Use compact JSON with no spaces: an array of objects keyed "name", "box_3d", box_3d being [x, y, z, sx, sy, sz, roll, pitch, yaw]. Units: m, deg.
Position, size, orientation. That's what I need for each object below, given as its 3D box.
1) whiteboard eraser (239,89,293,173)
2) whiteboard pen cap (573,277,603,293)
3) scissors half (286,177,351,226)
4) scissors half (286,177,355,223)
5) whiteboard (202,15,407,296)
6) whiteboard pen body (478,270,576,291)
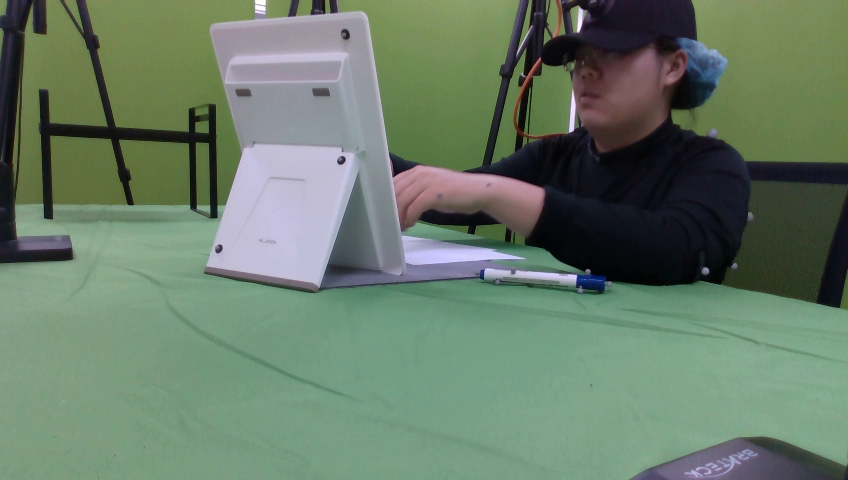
[{"name":"whiteboard eraser","box_3d":[-0.216,-0.145,0.820,0.055,0.113,0.042,24,49,26]},{"name":"whiteboard pen cap","box_3d":[0.186,0.051,0.687,0.033,0.018,0.018,4,8,18]},{"name":"scissors half","box_3d":[-0.232,-0.085,1.317,0.175,0.013,0.040,38,18,4]},{"name":"scissors half","box_3d":[-0.229,-0.090,1.337,0.175,0.013,0.040,33,13,-13]},{"name":"whiteboard","box_3d":[-0.166,-0.073,0.668,0.216,0.305,0.144,7,30,28]},{"name":"whiteboard pen body","box_3d":[0.132,0.048,0.706,0.140,0.017,0.017,4,7,17]}]
